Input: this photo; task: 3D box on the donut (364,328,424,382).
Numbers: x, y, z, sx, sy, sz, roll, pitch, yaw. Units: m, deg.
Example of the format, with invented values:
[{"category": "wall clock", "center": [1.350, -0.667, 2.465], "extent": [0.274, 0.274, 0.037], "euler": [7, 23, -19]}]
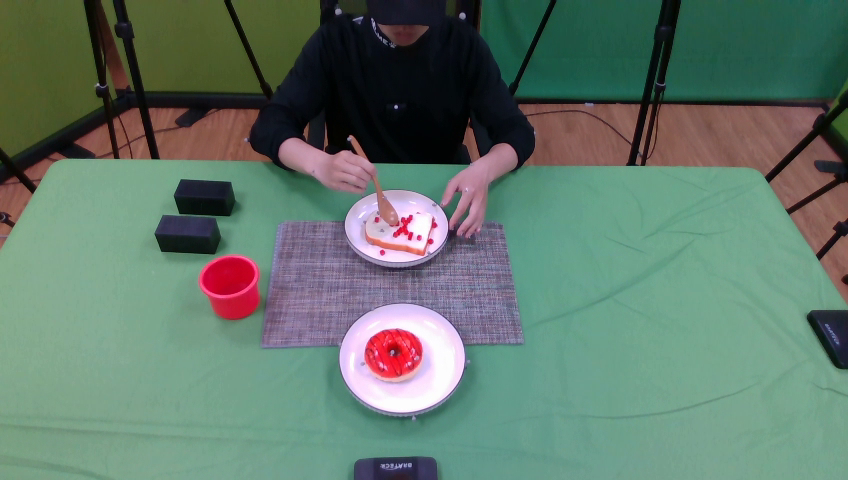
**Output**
[{"category": "donut", "center": [-0.049, 0.185, 0.984], "extent": [0.099, 0.048, 0.098], "euler": [1, 45, -1]}]

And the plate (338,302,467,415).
[{"category": "plate", "center": [-0.035, 0.194, 0.992], "extent": [0.208, 0.039, 0.206], "euler": [2, 48, -2]}]

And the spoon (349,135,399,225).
[{"category": "spoon", "center": [-0.093, -0.111, 1.134], "extent": [0.021, 0.194, 0.041], "euler": [-1, 34, 35]}]

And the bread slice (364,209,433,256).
[{"category": "bread slice", "center": [-0.054, -0.019, 1.200], "extent": [0.131, 0.019, 0.104], "euler": [11, 46, 3]}]

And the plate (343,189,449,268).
[{"category": "plate", "center": [-0.055, -0.019, 1.195], "extent": [0.209, 0.038, 0.208], "euler": [3, 46, -2]}]
